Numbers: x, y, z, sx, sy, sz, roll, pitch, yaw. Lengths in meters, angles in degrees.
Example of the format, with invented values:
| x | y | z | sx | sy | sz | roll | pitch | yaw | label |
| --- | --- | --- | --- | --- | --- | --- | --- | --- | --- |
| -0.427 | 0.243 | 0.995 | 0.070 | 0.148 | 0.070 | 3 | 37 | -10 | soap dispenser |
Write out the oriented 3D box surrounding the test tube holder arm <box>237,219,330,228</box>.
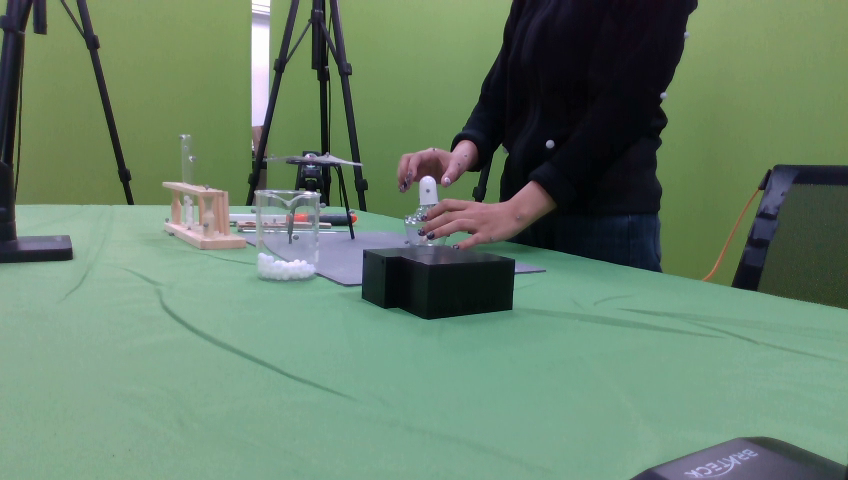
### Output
| x | y | z | sx | sy | sz | roll | pitch | yaw | label |
| --- | --- | --- | --- | --- | --- | --- | --- | --- | --- |
| -0.261 | -0.030 | 1.142 | 0.179 | 0.015 | 0.013 | -4 | 47 | -34 | test tube holder arm |

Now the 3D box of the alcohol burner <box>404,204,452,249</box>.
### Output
| x | y | z | sx | sy | sz | roll | pitch | yaw | label |
| --- | --- | --- | --- | --- | --- | --- | --- | --- | --- |
| 0.007 | -0.045 | 0.970 | 0.078 | 0.119 | 0.078 | 1 | 9 | 0 | alcohol burner |

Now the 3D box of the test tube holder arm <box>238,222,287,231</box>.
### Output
| x | y | z | sx | sy | sz | roll | pitch | yaw | label |
| --- | --- | --- | --- | --- | --- | --- | --- | --- | --- |
| -0.297 | -0.024 | 1.114 | 0.088 | 0.015 | 0.010 | -2 | 46 | -32 | test tube holder arm |

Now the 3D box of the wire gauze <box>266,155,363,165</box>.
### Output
| x | y | z | sx | sy | sz | roll | pitch | yaw | label |
| --- | --- | --- | --- | --- | --- | --- | --- | --- | --- |
| -0.185 | -0.136 | 1.016 | 0.126 | 0.011 | 0.121 | -3 | 11 | -33 | wire gauze |

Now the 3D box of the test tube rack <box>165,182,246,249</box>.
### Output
| x | y | z | sx | sy | sz | roll | pitch | yaw | label |
| --- | --- | --- | --- | --- | --- | --- | --- | --- | --- |
| -0.360 | -0.045 | 0.982 | 0.067 | 0.085 | 0.241 | -3 | 9 | -34 | test tube rack |

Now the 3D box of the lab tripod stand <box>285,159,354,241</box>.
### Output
| x | y | z | sx | sy | sz | roll | pitch | yaw | label |
| --- | --- | --- | --- | --- | --- | --- | --- | --- | --- |
| -0.187 | -0.068 | 1.013 | 0.148 | 0.131 | 0.148 | 4 | 9 | 0 | lab tripod stand |

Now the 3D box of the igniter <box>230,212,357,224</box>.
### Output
| x | y | z | sx | sy | sz | roll | pitch | yaw | label |
| --- | --- | --- | --- | --- | --- | --- | --- | --- | --- |
| -0.271 | -0.044 | 1.232 | 0.278 | 0.025 | 0.057 | -2 | -2 | -27 | igniter |

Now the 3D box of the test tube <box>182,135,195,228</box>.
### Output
| x | y | z | sx | sy | sz | roll | pitch | yaw | label |
| --- | --- | --- | --- | --- | --- | --- | --- | --- | --- |
| -0.382 | -0.095 | 0.983 | 0.017 | 0.150 | 0.017 | -1 | 2 | 0 | test tube |

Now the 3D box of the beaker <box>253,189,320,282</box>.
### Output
| x | y | z | sx | sy | sz | roll | pitch | yaw | label |
| --- | --- | --- | --- | --- | --- | --- | --- | --- | --- |
| -0.156 | -0.005 | 0.689 | 0.074 | 0.100 | 0.083 | 0 | 8 | -14 | beaker |

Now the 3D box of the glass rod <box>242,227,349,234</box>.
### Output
| x | y | z | sx | sy | sz | roll | pitch | yaw | label |
| --- | --- | --- | --- | --- | --- | --- | --- | --- | --- |
| -0.232 | -0.017 | 1.110 | 0.201 | 0.008 | 0.008 | 2 | 6 | -30 | glass rod |

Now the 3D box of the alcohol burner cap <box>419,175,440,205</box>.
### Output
| x | y | z | sx | sy | sz | roll | pitch | yaw | label |
| --- | --- | --- | --- | --- | --- | --- | --- | --- | --- |
| 0.007 | -0.080 | 0.965 | 0.034 | 0.048 | 0.034 | -7 | 9 | 1 | alcohol burner cap |
